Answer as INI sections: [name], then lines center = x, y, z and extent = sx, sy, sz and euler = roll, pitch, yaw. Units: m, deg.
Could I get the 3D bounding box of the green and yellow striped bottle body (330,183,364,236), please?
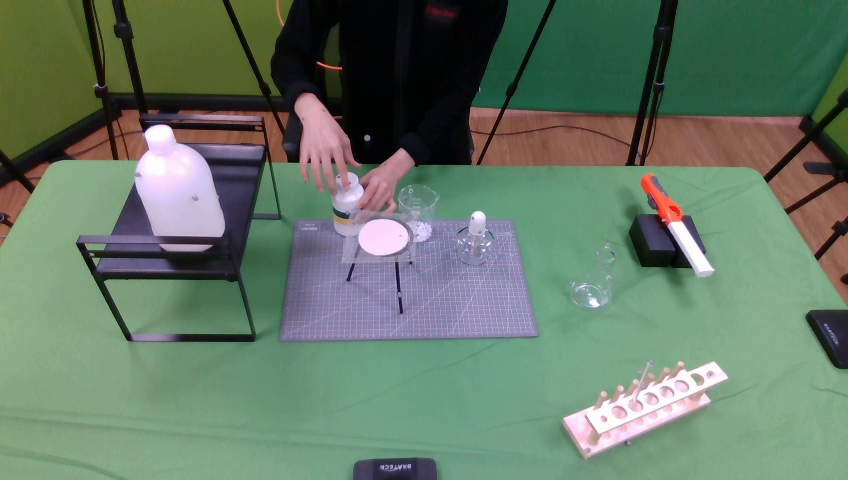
[green and yellow striped bottle body]
center = -0.149, -0.070, 1.181
extent = 0.063, 0.120, 0.063
euler = 2, 46, -2

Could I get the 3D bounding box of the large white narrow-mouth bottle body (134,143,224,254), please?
[large white narrow-mouth bottle body]
center = -0.358, -0.075, 0.875
extent = 0.102, 0.195, 0.101
euler = 1, 48, -1

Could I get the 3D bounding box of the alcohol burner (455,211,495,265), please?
[alcohol burner]
center = 0.097, -0.010, 1.147
extent = 0.078, 0.120, 0.077
euler = 1, 47, -1

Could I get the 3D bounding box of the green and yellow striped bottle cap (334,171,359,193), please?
[green and yellow striped bottle cap]
center = -0.147, -0.110, 1.142
extent = 0.045, 0.020, 0.045
euler = 2, 47, -2

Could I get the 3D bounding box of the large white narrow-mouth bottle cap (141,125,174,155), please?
[large white narrow-mouth bottle cap]
center = -0.356, -0.134, 0.810
extent = 0.038, 0.024, 0.037
euler = 2, 48, -1

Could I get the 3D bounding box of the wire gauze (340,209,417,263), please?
[wire gauze]
center = -0.074, -0.007, 1.023
extent = 0.121, 0.011, 0.124
euler = 3, 46, 0

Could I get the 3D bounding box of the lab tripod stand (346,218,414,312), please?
[lab tripod stand]
center = -0.070, 0.037, 1.075
extent = 0.148, 0.132, 0.147
euler = 1, 47, -1

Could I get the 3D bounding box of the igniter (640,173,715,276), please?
[igniter]
center = 0.495, -0.039, 1.204
extent = 0.057, 0.025, 0.274
euler = -2, 47, -12

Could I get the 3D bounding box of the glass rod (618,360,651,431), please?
[glass rod]
center = 0.298, 0.227, 0.865
extent = 0.008, 0.201, 0.008
euler = -2, 48, 2

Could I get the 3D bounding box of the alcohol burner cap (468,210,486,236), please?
[alcohol burner cap]
center = 0.100, -0.034, 1.119
extent = 0.034, 0.048, 0.033
euler = 0, 53, 0

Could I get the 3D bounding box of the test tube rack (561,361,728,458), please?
[test tube rack]
center = 0.341, 0.248, 0.940
extent = 0.243, 0.085, 0.066
euler = -15, 49, -18

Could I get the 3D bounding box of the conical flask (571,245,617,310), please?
[conical flask]
center = 0.313, 0.064, 1.089
extent = 0.075, 0.122, 0.075
euler = 2, 46, -2

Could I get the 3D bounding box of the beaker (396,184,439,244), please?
[beaker]
center = -0.014, -0.049, 1.186
extent = 0.084, 0.101, 0.073
euler = -8, 48, -13
